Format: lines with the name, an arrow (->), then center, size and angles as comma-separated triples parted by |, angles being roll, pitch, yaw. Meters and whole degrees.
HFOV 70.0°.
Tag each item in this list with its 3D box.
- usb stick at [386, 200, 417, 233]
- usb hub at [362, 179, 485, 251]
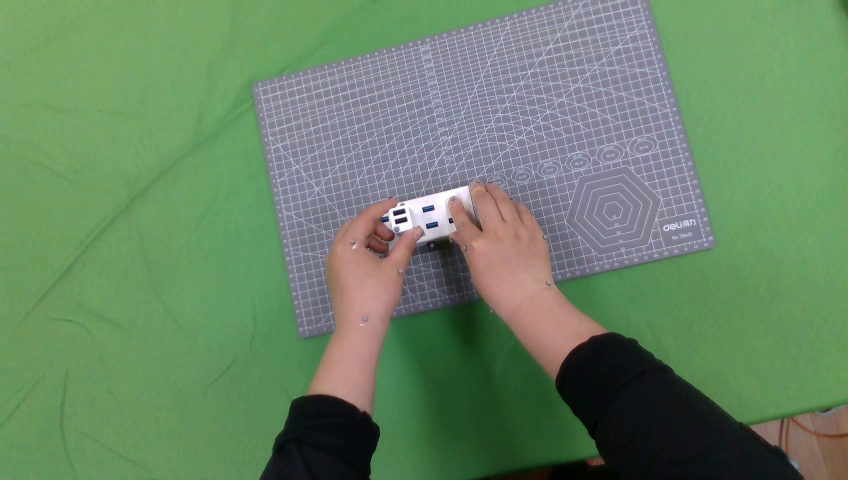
usb stick -> -0.021, -0.022, 0.621 | 0.021, 0.059, 0.027 | -16, 79, 5
usb hub -> -0.001, -0.027, 0.648 | 0.125, 0.025, 0.049 | -14, 82, 6
